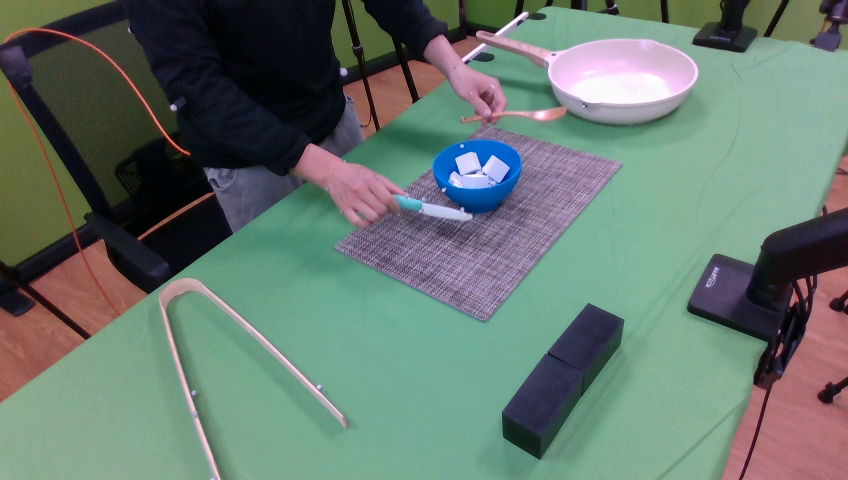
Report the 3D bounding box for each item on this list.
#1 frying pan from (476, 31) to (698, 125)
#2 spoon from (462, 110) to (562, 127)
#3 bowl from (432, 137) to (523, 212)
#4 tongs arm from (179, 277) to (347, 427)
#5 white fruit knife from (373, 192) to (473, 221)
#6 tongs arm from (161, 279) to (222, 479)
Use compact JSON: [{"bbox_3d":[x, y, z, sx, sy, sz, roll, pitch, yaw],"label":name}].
[{"bbox_3d":[0.321,-0.371,1.290,0.484,0.103,0.307,29,51,23],"label":"frying pan"},{"bbox_3d":[0.156,-0.226,1.098,0.192,0.022,0.041,12,54,27],"label":"spoon"},{"bbox_3d":[0.091,-0.100,1.022,0.151,0.077,0.150,-4,41,4],"label":"bowl"},{"bbox_3d":[-0.231,0.141,0.832,0.384,0.028,0.028,30,55,35],"label":"tongs arm"},{"bbox_3d":[-0.006,-0.051,0.918,0.205,0.027,0.016,14,50,40],"label":"white fruit knife"},{"bbox_3d":[-0.297,0.174,0.797,0.051,0.026,0.381,-25,43,-21],"label":"tongs arm"}]
